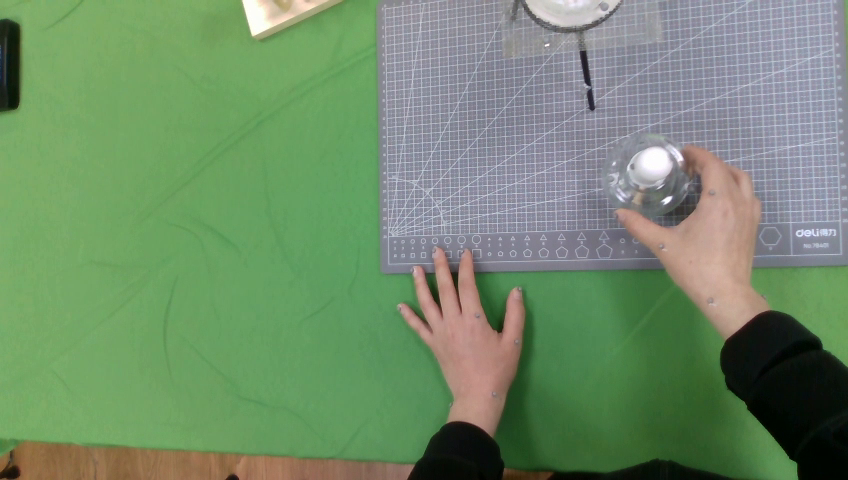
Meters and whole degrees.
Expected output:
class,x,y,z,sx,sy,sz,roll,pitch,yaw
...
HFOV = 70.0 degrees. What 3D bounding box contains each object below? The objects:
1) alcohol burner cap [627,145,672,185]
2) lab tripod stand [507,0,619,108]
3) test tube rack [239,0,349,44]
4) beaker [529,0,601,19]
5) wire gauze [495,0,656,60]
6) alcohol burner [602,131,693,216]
class,x,y,z,sx,sy,sz,roll,pitch,yaw
alcohol burner cap,0.188,-0.064,0.501,0.034,0.048,0.034,0,90,12
lab tripod stand,0.136,-0.205,0.548,0.148,0.132,0.148,0,89,14
test tube rack,-0.109,-0.303,0.649,0.242,0.085,0.066,-20,82,14
beaker,0.100,-0.212,0.440,0.083,0.100,0.074,12,91,16
wire gauze,0.118,-0.209,0.485,0.125,0.011,0.121,-3,91,13
alcohol burner,0.198,-0.061,0.536,0.077,0.119,0.078,-1,87,14
